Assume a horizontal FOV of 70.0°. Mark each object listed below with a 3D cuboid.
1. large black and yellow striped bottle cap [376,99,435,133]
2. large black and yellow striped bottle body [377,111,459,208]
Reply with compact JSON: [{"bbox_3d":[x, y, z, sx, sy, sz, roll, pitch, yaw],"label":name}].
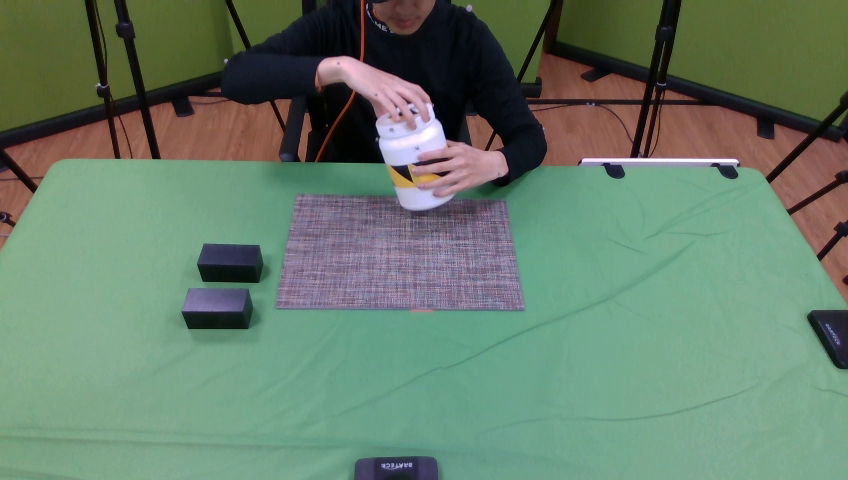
[{"bbox_3d":[-0.036,-0.241,1.170,0.115,0.019,0.114,-15,31,10],"label":"large black and yellow striped bottle cap"},{"bbox_3d":[-0.013,-0.173,1.212,0.131,0.185,0.130,-14,30,9],"label":"large black and yellow striped bottle body"}]
